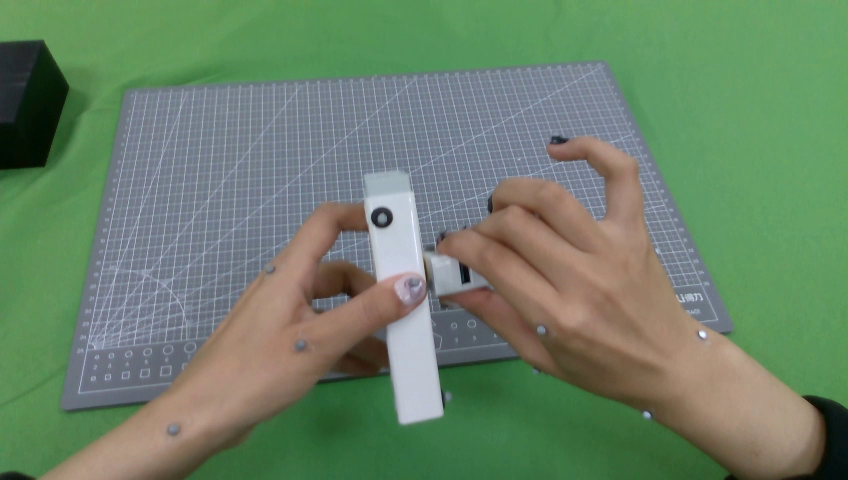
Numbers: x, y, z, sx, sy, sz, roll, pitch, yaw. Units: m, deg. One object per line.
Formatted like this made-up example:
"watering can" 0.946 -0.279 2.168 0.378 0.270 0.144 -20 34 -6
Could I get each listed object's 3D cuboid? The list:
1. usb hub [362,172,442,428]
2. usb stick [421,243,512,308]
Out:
"usb hub" -0.013 0.029 0.314 0.025 0.125 0.049 -9 11 -5
"usb stick" 0.015 0.020 0.321 0.059 0.021 0.027 -11 18 -7
